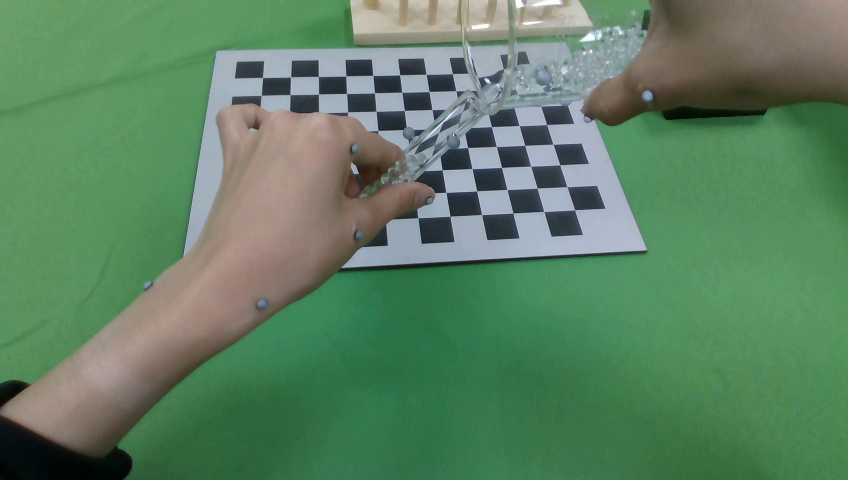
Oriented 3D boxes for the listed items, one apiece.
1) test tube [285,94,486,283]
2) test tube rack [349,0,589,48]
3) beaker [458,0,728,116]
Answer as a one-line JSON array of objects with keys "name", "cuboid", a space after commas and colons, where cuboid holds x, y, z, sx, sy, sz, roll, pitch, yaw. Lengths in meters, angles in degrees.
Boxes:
[{"name": "test tube", "cuboid": [-0.026, -0.023, 0.325, 0.017, 0.150, 0.017, 39, 25, -22]}, {"name": "test tube rack", "cuboid": [0.047, -0.250, 0.600, 0.243, 0.086, 0.066, -4, 53, -7]}, {"name": "beaker", "cuboid": [0.073, -0.096, 0.273, 0.100, 0.084, 0.073, -8, 56, -9]}]
